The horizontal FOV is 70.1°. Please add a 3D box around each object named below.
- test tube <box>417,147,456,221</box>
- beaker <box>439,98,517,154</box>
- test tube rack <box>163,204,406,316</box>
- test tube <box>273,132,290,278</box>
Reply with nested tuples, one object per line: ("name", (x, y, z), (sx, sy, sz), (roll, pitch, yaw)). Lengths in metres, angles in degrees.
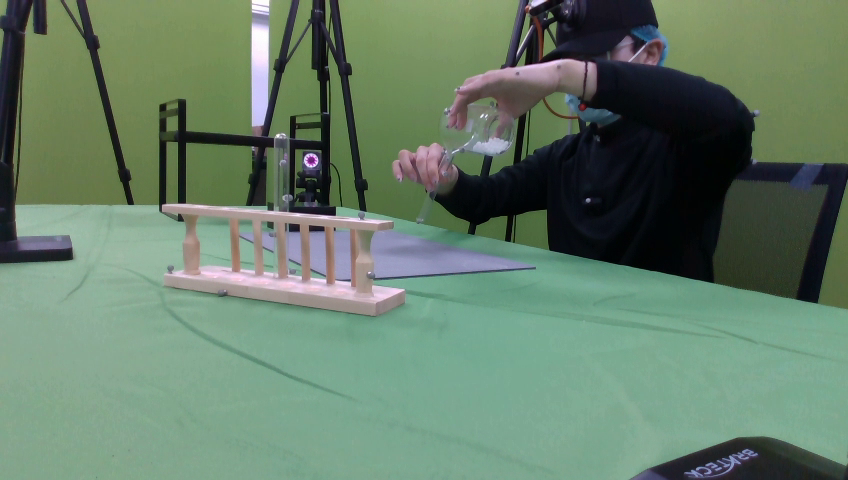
("test tube", (0.018, -0.087, 0.969), (0.017, 0.150, 0.017), (15, 41, -13))
("beaker", (0.078, -0.163, 0.881), (0.074, 0.084, 0.100), (23, 0, -37))
("test tube rack", (-0.141, 0.013, 0.601), (0.241, 0.085, 0.067), (5, 8, 21))
("test tube", (-0.146, -0.034, 0.617), (0.017, 0.150, 0.017), (2, 8, 0))
